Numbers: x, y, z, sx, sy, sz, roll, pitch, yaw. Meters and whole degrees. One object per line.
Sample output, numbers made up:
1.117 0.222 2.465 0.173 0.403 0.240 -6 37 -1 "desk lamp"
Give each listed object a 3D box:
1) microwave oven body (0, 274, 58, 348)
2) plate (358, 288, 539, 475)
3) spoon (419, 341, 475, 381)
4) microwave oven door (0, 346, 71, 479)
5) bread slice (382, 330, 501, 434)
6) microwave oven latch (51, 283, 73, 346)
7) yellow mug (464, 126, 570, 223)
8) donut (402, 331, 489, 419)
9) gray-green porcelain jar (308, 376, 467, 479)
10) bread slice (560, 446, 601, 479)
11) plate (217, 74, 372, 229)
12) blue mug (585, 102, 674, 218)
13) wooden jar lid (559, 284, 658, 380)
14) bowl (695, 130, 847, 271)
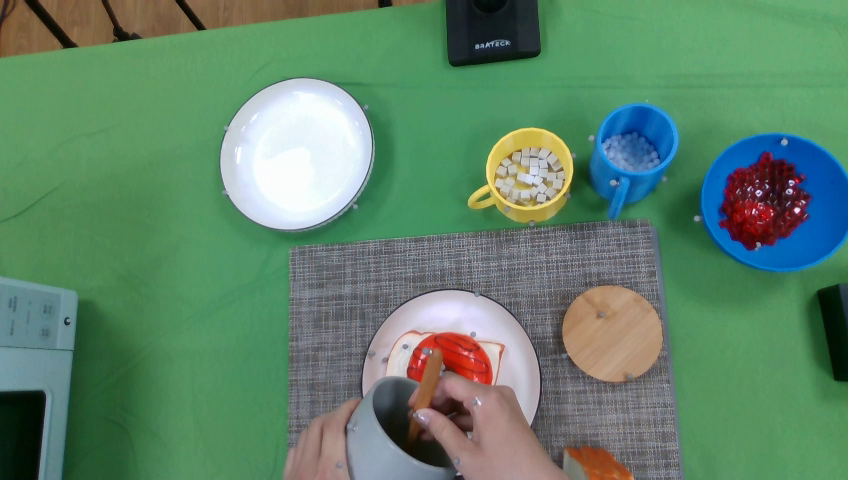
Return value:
-0.634 0.258 0.677 0.325 0.261 0.439 -3 79 9 "microwave oven body"
0.029 0.160 0.699 0.209 0.038 0.208 -2 78 9 "plate"
0.023 0.117 0.578 0.021 0.195 0.041 3 81 19 "spoon"
-0.491 0.290 0.640 0.039 0.245 0.354 -3 78 10 "microwave oven door"
0.016 0.159 0.704 0.131 0.019 0.104 10 79 9 "bread slice"
-0.476 0.096 0.782 0.030 0.029 0.079 0 79 9 "microwave oven latch"
0.108 -0.069 0.721 0.131 0.064 0.099 -26 74 5 "yellow mug"
0.024 0.151 0.673 0.099 0.048 0.098 -1 79 6 "donut"
-0.038 0.206 0.554 0.105 0.106 0.127 40 111 15 "gray-green porcelain jar"
0.156 0.269 0.610 0.018 0.135 0.106 4 77 3 "bread slice"
-0.166 -0.113 0.792 0.207 0.039 0.206 -2 79 9 "plate"
0.224 -0.081 0.684 0.082 0.106 0.116 16 82 13 "blue mug"
0.209 0.105 0.689 0.108 0.021 0.108 -2 79 9 "wooden jar lid"
0.368 -0.035 0.664 0.151 0.077 0.150 -2 79 10 "bowl"
